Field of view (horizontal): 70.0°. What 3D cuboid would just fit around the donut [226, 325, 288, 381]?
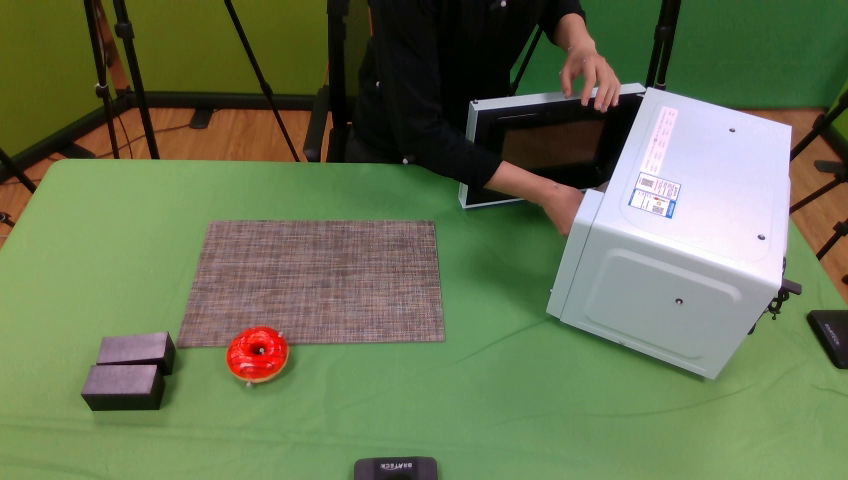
[{"bbox_3d":[-0.270,0.182,0.984,0.099,0.048,0.098,5,49,-5],"label":"donut"}]

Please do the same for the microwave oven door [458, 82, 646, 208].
[{"bbox_3d":[0.252,-0.190,1.221,0.356,0.245,0.039,-9,47,-12],"label":"microwave oven door"}]

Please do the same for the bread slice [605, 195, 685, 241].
[{"bbox_3d":[0.422,-0.046,1.146,0.132,0.019,0.104,-7,47,-7],"label":"bread slice"}]

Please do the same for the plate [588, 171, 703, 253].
[{"bbox_3d":[0.413,-0.049,1.145,0.208,0.039,0.206,-2,47,2],"label":"plate"}]

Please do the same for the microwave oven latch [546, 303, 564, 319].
[{"bbox_3d":[0.242,0.102,1.081,0.030,0.029,0.079,22,48,17],"label":"microwave oven latch"}]

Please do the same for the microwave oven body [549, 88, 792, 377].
[{"bbox_3d":[0.456,-0.028,1.088,0.325,0.261,0.440,20,47,16],"label":"microwave oven body"}]
